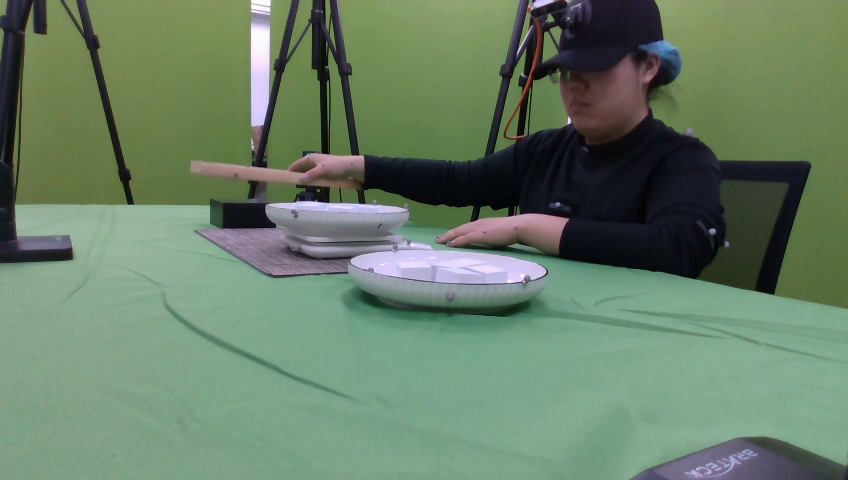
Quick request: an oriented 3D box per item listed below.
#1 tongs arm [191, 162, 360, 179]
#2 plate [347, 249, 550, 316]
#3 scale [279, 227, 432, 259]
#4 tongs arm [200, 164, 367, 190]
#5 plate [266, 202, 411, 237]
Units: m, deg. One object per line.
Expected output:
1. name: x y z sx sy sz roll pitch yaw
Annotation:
1. tongs arm: -0.315 -0.143 1.361 0.387 0.026 0.050 3 5 -30
2. plate: 0.025 0.042 0.627 0.209 0.038 0.209 2 7 0
3. scale: -0.100 0.001 0.899 0.202 0.031 0.148 -1 9 -31
4. tongs arm: -0.285 -0.134 1.309 0.390 0.028 0.028 2 3 -37
5. plate: -0.123 -0.030 0.879 0.208 0.039 0.207 2 6 0
